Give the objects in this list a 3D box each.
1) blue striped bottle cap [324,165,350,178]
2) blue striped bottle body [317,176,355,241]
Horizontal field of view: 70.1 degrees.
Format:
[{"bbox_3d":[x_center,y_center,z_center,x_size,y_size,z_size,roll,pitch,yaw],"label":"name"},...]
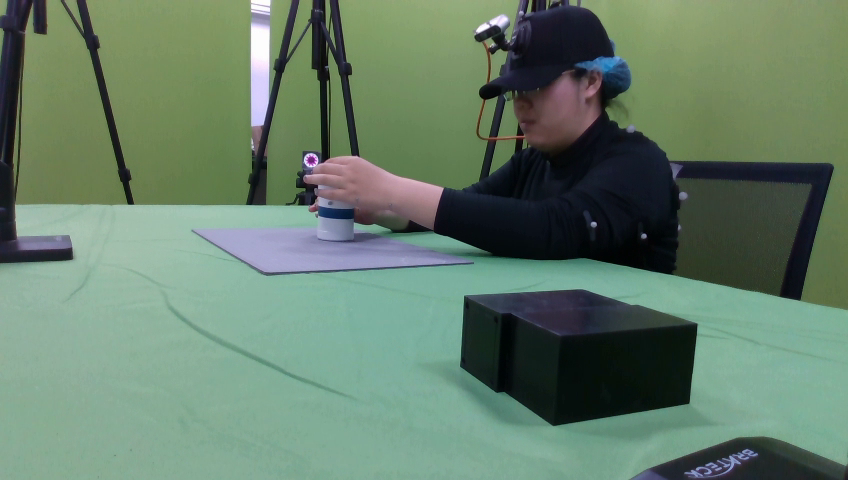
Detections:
[{"bbox_3d":[-0.146,-0.116,1.018,0.044,0.020,0.044,4,9,0],"label":"blue striped bottle cap"},{"bbox_3d":[-0.149,-0.061,1.024,0.063,0.120,0.063,3,7,0],"label":"blue striped bottle body"}]
